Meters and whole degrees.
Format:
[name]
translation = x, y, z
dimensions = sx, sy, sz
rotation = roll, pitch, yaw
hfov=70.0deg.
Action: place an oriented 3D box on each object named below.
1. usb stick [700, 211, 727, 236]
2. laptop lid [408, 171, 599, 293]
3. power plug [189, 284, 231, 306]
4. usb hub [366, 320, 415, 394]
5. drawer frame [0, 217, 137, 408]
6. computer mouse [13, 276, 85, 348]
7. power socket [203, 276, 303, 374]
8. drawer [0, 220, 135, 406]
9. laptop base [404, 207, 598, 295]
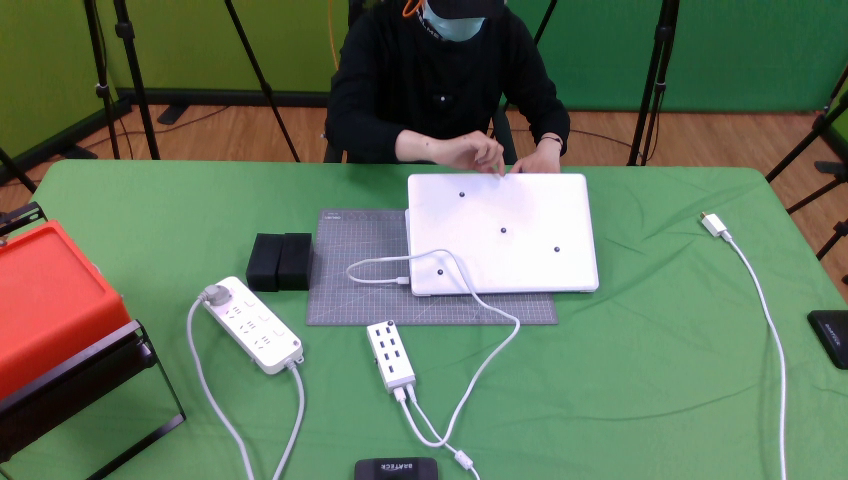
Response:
[usb stick]
translation = 0.606, -0.038, 1.273
dimensions = 0.027, 0.021, 0.059
rotation = -18, 57, -20
[laptop lid]
translation = 0.148, -0.019, 1.135
dimensions = 0.357, 0.013, 0.241
rotation = 1, 76, -6
[power plug]
translation = -0.367, 0.100, 1.037
dimensions = 0.072, 0.053, 0.035
rotation = -24, 54, -26
[usb hub]
translation = -0.056, 0.192, 1.009
dimensions = 0.049, 0.025, 0.124
rotation = -12, 49, -16
[drawer frame]
translation = -0.523, 0.094, 0.779
dimensions = 0.200, 0.083, 0.213
rotation = 37, 55, 26
[computer mouse]
translation = -0.496, 0.090, 0.804
dimensions = 0.063, 0.041, 0.116
rotation = -7, 42, -7
[power socket]
translation = -0.296, 0.141, 1.034
dimensions = 0.072, 0.033, 0.225
rotation = -35, 58, -30
[drawer]
translation = -0.522, 0.093, 0.782
dimensions = 0.193, 0.073, 0.211
rotation = 37, 55, 27
[laptop base]
translation = 0.143, 0.018, 1.195
dimensions = 0.355, 0.023, 0.234
rotation = -1, 43, -6
